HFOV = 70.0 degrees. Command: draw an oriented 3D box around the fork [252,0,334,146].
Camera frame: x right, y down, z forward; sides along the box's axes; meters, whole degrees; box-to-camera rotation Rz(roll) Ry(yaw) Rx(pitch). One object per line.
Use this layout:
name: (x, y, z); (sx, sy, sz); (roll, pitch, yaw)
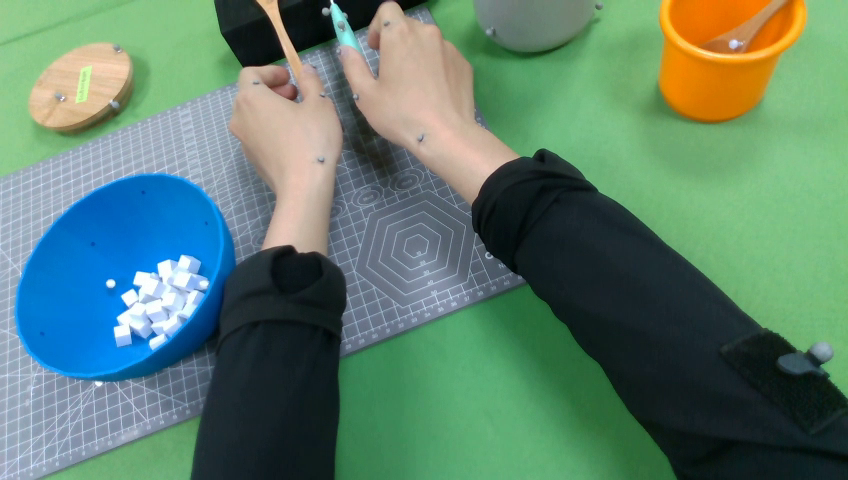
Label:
fork: (-0.122, -0.173, 0.526); (0.028, 0.019, 0.206); (-23, 79, -11)

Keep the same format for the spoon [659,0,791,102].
spoon: (0.242, -0.160, 0.404); (0.022, 0.194, 0.041); (6, 57, -36)

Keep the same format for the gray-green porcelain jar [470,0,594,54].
gray-green porcelain jar: (0.085, -0.224, 0.484); (0.106, 0.128, 0.105); (-5, 61, 10)

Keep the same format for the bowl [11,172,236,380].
bowl: (-0.195, 0.035, 0.432); (0.151, 0.077, 0.150); (-5, 61, 10)

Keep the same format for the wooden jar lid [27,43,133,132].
wooden jar lid: (-0.335, -0.149, 0.597); (0.108, 0.021, 0.107); (-4, 61, 8)

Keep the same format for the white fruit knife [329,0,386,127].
white fruit knife: (-0.075, -0.190, 0.526); (0.016, 0.027, 0.206); (-23, 74, 0)
